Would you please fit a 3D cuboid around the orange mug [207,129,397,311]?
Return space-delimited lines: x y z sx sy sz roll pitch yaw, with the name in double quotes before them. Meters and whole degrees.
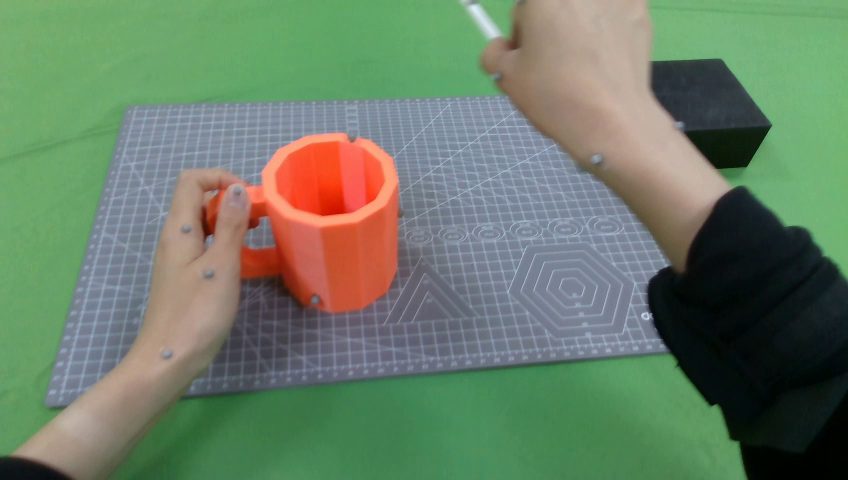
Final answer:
"orange mug" -0.080 -0.011 0.418 0.126 0.101 0.082 -5 51 -14

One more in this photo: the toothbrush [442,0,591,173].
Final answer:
"toothbrush" 0.049 -0.110 0.368 0.014 0.017 0.180 -18 62 -22
